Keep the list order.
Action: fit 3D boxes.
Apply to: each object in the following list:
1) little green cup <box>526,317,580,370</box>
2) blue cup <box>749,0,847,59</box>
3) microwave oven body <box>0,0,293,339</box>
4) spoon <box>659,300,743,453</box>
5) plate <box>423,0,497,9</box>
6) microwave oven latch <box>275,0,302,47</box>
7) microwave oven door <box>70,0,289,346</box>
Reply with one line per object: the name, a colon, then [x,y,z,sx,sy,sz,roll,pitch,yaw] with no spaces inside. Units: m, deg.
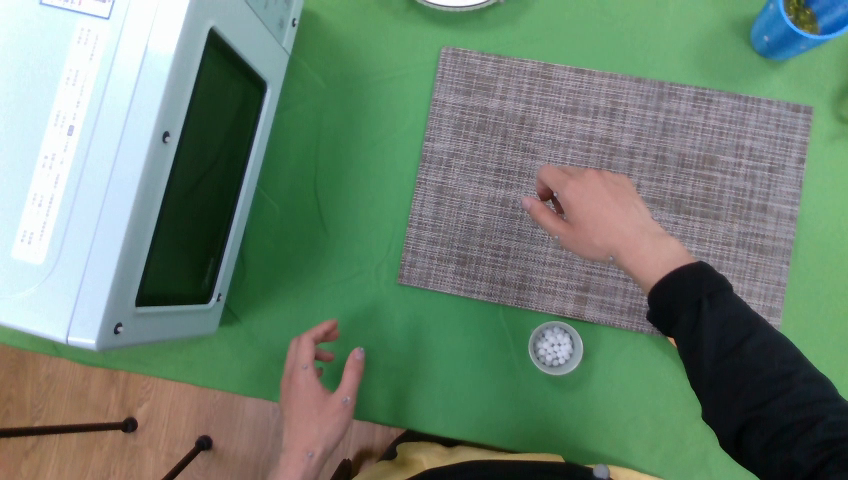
little green cup: [0.148,0.120,0.707,0.061,0.039,0.061,0,84,4]
blue cup: [0.418,-0.250,0.680,0.092,0.100,0.092,0,88,4]
microwave oven body: [-0.365,-0.151,0.647,0.326,0.260,0.441,14,88,5]
spoon: [0.322,0.159,0.698,0.041,0.021,0.193,-25,86,-13]
plate: [0.047,-0.382,0.747,0.207,0.039,0.207,0,86,4]
microwave oven latch: [-0.170,-0.279,0.738,0.030,0.029,0.079,16,88,5]
microwave oven door: [-0.235,-0.074,0.628,0.039,0.244,0.355,14,87,6]
